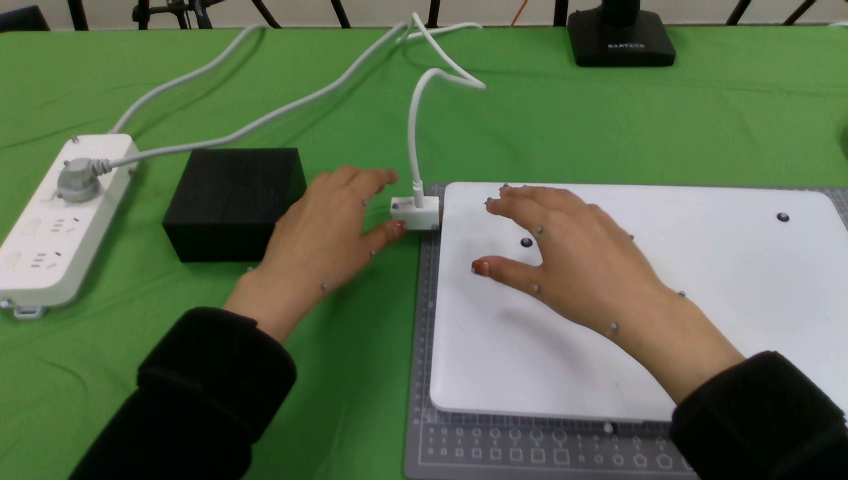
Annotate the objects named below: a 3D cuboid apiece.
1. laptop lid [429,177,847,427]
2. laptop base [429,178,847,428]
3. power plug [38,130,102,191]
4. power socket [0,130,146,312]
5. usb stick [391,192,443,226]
[{"bbox_3d":[0.186,0.034,0.492,0.356,0.013,0.239,3,50,5],"label":"laptop lid"},{"bbox_3d":[0.187,0.041,0.503,0.354,0.023,0.233,2,51,4],"label":"laptop base"},{"bbox_3d":[-0.323,-0.078,0.553,0.053,0.073,0.035,11,31,-18],"label":"power plug"},{"bbox_3d":[-0.333,-0.031,0.578,0.072,0.033,0.224,0,47,1],"label":"power socket"},{"bbox_3d":[0.000,-0.028,0.556,0.059,0.027,0.021,2,42,1],"label":"usb stick"}]
